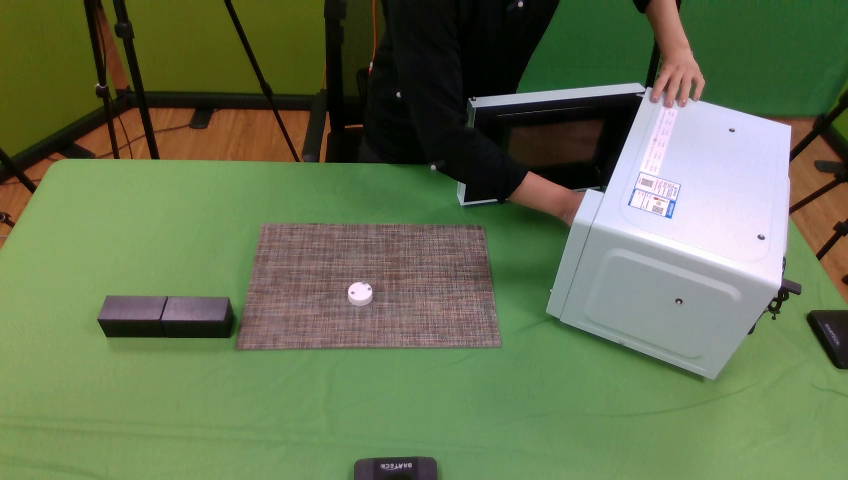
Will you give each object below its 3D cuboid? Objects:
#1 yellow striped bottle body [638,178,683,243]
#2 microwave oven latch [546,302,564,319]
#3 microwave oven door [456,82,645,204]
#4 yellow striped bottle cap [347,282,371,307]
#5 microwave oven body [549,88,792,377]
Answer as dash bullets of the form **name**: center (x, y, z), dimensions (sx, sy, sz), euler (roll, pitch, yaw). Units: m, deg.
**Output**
- **yellow striped bottle body**: center (0.440, -0.057, 1.126), dimensions (0.063, 0.121, 0.062), euler (-2, 43, 2)
- **microwave oven latch**: center (0.242, 0.102, 1.081), dimensions (0.030, 0.029, 0.079), euler (22, 48, 17)
- **microwave oven door**: center (0.250, -0.193, 1.224), dimensions (0.356, 0.245, 0.039), euler (-8, 47, -11)
- **yellow striped bottle cap**: center (-0.117, 0.098, 1.093), dimensions (0.044, 0.019, 0.044), euler (3, 45, -3)
- **microwave oven body**: center (0.455, -0.028, 1.088), dimensions (0.325, 0.261, 0.440), euler (20, 47, 16)
